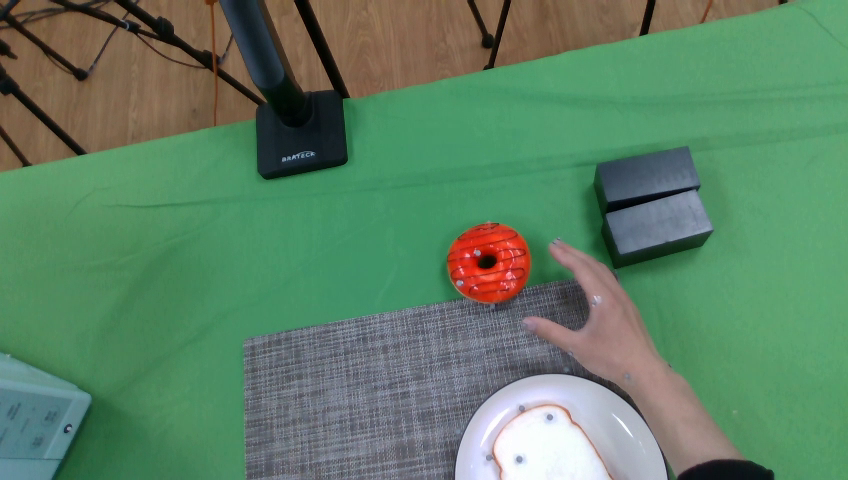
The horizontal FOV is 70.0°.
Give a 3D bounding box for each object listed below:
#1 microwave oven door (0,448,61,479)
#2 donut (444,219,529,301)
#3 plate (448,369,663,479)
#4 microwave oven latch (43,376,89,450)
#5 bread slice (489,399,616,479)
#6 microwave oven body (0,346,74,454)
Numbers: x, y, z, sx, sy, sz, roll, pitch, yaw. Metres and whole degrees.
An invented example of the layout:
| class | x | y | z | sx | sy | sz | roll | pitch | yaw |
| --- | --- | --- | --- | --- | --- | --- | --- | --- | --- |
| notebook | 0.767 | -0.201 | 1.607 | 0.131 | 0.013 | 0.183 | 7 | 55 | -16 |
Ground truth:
| class | x | y | z | sx | sy | sz | roll | pitch | yaw |
| --- | --- | --- | --- | --- | --- | --- | --- | --- | --- |
| microwave oven door | -0.520 | 0.364 | 0.556 | 0.039 | 0.246 | 0.354 | 17 | 74 | 16 |
| donut | 0.072 | 0.023 | 0.696 | 0.099 | 0.048 | 0.098 | -5 | 67 | 13 |
| plate | 0.129 | 0.237 | 0.610 | 0.207 | 0.039 | 0.206 | -3 | 70 | 9 |
| microwave oven latch | -0.424 | 0.202 | 0.706 | 0.030 | 0.030 | 0.079 | 19 | 76 | 16 |
| bread slice | 0.126 | 0.231 | 0.614 | 0.105 | 0.019 | 0.130 | -30 | 69 | -2 |
| microwave oven body | -0.639 | 0.288 | 0.610 | 0.324 | 0.262 | 0.440 | 17 | 75 | 15 |
